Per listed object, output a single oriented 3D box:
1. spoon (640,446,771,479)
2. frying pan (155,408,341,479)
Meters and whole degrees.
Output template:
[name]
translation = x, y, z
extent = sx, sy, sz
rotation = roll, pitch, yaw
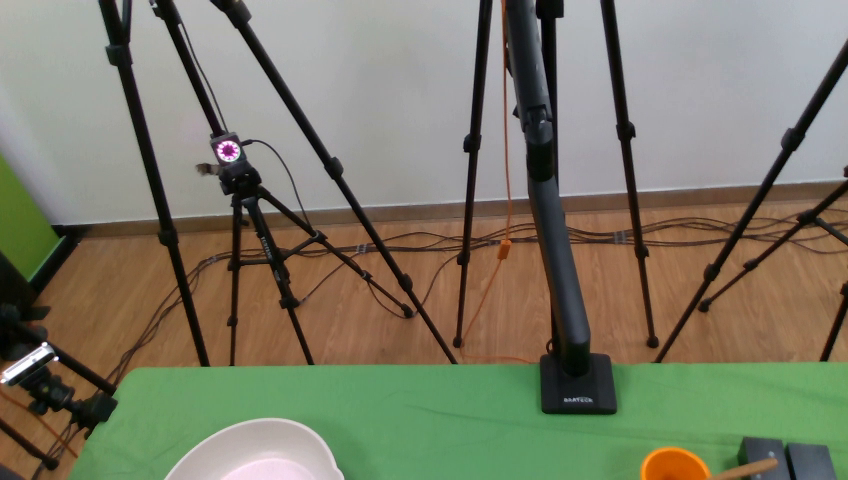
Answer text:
[spoon]
translation = 0.367, 0.308, 0.806
extent = 0.022, 0.194, 0.041
rotation = 29, 43, -20
[frying pan]
translation = -0.254, 0.450, 0.823
extent = 0.307, 0.104, 0.482
rotation = -13, 33, 0
